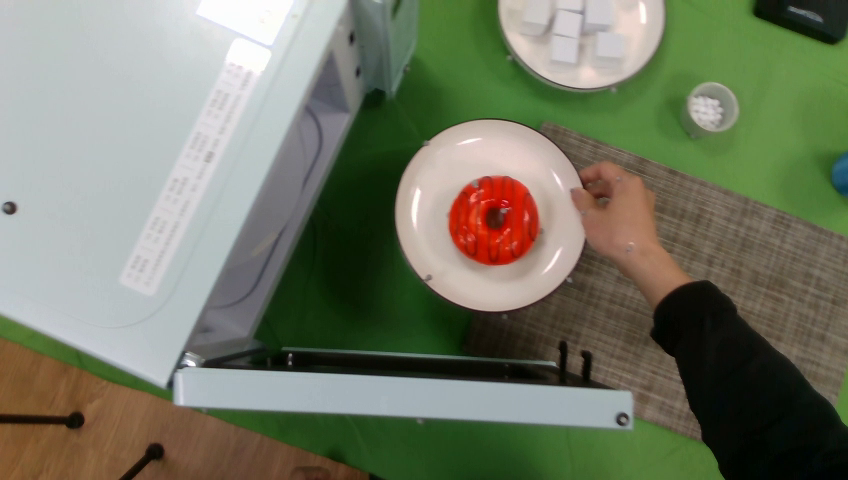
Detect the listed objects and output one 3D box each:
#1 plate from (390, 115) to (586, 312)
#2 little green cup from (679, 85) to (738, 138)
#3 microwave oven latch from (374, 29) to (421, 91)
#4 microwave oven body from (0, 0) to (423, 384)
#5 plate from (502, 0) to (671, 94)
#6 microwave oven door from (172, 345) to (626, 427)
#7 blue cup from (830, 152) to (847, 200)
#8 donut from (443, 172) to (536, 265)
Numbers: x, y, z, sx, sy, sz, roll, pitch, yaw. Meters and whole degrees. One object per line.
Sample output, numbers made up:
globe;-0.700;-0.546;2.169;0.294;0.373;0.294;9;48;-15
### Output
plate;0.067;-0.028;0.647;0.209;0.038;0.208;1;84;-5
little green cup;0.349;-0.156;0.750;0.061;0.038;0.061;0;84;-2
microwave oven latch;-0.031;-0.219;0.718;0.030;0.029;0.079;29;84;0
microwave oven body;-0.235;-0.129;0.602;0.326;0.260;0.441;24;84;0
plate;0.199;-0.279;0.754;0.208;0.039;0.207;0;84;-3
microwave oven door;-0.021;0.134;0.582;0.356;0.244;0.039;4;82;-2
blue cup;0.545;-0.084;0.721;0.093;0.100;0.092;0;86;-2
donut;0.068;-0.022;0.635;0.099;0.048;0.099;0;86;-4
